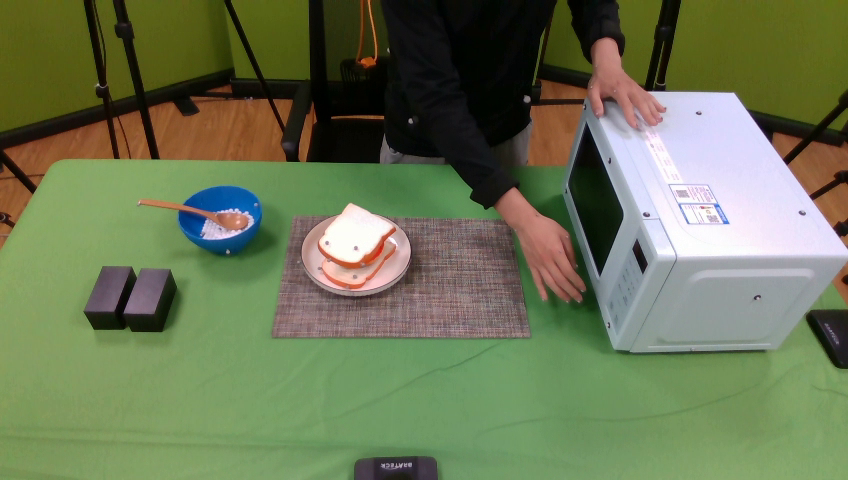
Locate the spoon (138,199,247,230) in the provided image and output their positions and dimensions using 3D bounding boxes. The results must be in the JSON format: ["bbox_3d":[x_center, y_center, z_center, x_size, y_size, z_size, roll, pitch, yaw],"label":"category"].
[{"bbox_3d":[-0.431,-0.053,1.136,0.194,0.022,0.041,15,48,-20],"label":"spoon"}]

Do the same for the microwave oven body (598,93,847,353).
[{"bbox_3d":[0.475,-0.041,1.109,0.326,0.261,0.438,-1,45,-4],"label":"microwave oven body"}]

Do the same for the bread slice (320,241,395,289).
[{"bbox_3d":[-0.129,0.037,1.140,0.107,0.018,0.134,19,47,14],"label":"bread slice"}]

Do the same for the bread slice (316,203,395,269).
[{"bbox_3d":[-0.128,-0.005,1.100,0.104,0.019,0.131,28,53,13],"label":"bread slice"}]

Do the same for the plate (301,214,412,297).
[{"bbox_3d":[-0.127,0.031,1.145,0.208,0.039,0.206,2,46,-2],"label":"plate"}]

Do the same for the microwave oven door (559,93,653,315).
[{"bbox_3d":[0.327,-0.074,1.123,0.039,0.245,0.353,-1,46,-5],"label":"microwave oven door"}]

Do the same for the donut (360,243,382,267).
[{"bbox_3d":[-0.126,0.011,1.127,0.099,0.048,0.098,4,44,-3],"label":"donut"}]

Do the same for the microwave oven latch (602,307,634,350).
[{"bbox_3d":[0.332,0.153,1.044,0.030,0.029,0.078,-1,45,-4],"label":"microwave oven latch"}]

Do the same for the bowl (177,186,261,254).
[{"bbox_3d":[-0.383,-0.026,1.157,0.151,0.077,0.150,2,46,-2],"label":"bowl"}]
